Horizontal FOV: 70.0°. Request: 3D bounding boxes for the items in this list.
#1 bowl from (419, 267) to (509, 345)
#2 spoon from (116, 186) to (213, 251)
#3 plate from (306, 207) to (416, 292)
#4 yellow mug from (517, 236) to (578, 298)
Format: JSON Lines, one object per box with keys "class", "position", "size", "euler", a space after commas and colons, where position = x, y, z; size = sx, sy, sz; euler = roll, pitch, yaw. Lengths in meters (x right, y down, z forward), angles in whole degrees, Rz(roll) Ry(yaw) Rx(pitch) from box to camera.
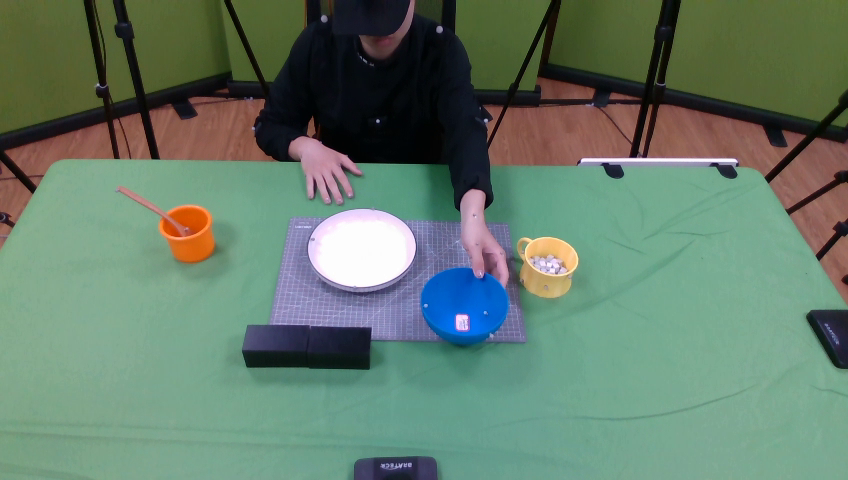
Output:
{"class": "bowl", "position": [0.066, 0.126, 1.036], "size": [0.151, 0.077, 0.150], "euler": [1, 45, -1]}
{"class": "spoon", "position": [-0.474, -0.041, 1.112], "size": [0.021, 0.195, 0.041], "euler": [-31, 31, 29]}
{"class": "plate", "position": [-0.119, 0.021, 1.153], "size": [0.209, 0.038, 0.208], "euler": [2, 46, -2]}
{"class": "yellow mug", "position": [0.223, 0.041, 1.145], "size": [0.100, 0.064, 0.130], "euler": [-30, 54, -28]}
